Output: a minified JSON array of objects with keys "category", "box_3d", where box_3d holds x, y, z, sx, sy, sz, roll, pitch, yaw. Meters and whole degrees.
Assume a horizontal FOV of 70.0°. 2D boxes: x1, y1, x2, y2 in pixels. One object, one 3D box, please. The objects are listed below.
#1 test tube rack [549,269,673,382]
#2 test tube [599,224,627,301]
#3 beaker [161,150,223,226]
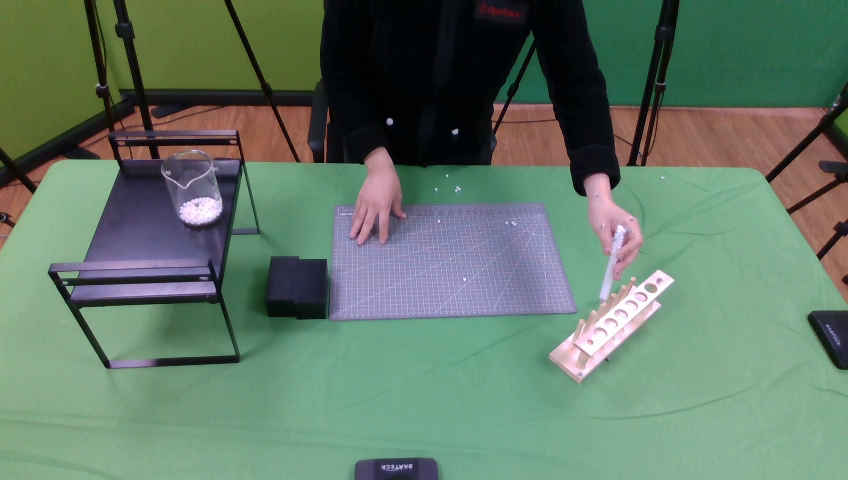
[{"category":"test tube rack","box_3d":[0.325,0.134,1.047,0.242,0.085,0.066,-32,56,-30]},{"category":"test tube","box_3d":[0.295,0.038,0.952,0.017,0.151,0.017,1,37,0]},{"category":"beaker","box_3d":[-0.357,-0.076,0.941,0.074,0.101,0.083,-4,47,-7]}]
